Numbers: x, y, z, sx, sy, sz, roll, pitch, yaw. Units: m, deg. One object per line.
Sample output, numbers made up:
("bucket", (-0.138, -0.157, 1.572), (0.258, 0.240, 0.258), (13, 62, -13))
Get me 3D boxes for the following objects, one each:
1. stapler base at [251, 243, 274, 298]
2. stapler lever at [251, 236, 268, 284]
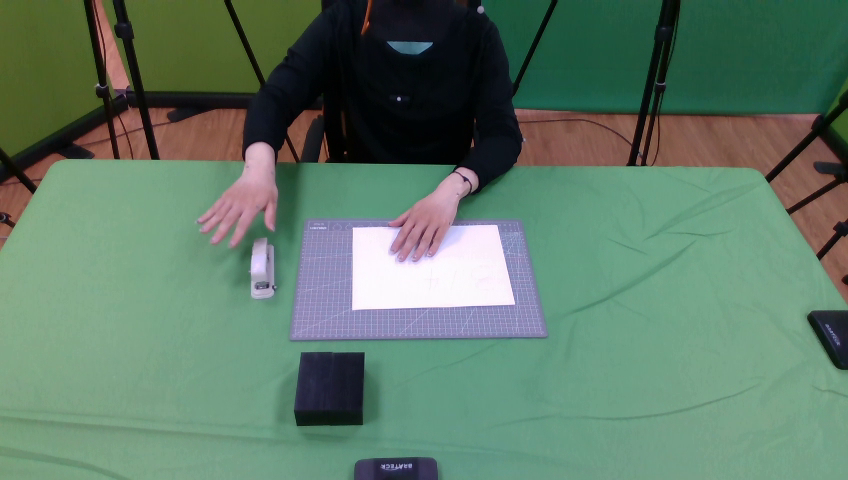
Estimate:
("stapler base", (-0.300, 0.050, 1.124), (0.041, 0.024, 0.129), (-4, 45, -11))
("stapler lever", (-0.299, 0.031, 1.107), (0.027, 0.040, 0.117), (-4, 45, -11))
